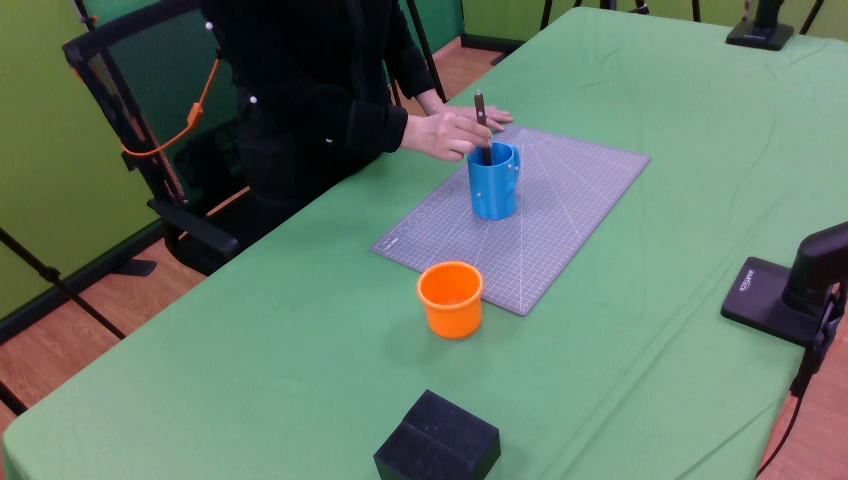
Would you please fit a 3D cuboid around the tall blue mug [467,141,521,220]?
[{"bbox_3d":[0.119,-0.109,1.020,0.077,0.108,0.107,3,42,15],"label":"tall blue mug"}]

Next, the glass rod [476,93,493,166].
[{"bbox_3d":[0.100,-0.164,0.974,0.008,0.201,0.008,-6,58,10],"label":"glass rod"}]
